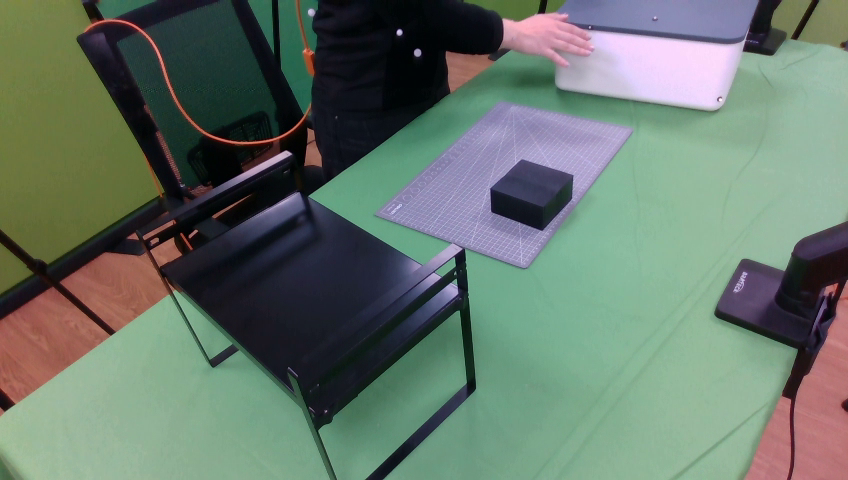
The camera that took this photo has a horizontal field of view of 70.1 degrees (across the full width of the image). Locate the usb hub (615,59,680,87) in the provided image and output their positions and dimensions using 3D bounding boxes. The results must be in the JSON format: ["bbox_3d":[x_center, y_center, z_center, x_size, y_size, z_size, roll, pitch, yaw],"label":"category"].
[{"bbox_3d":[0.484,-0.363,1.311,0.124,0.025,0.049,21,46,27],"label":"usb hub"}]

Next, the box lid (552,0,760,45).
[{"bbox_3d":[0.471,-0.473,1.235,0.369,0.015,0.263,16,46,25],"label":"box lid"}]

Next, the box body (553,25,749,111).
[{"bbox_3d":[0.480,-0.417,1.282,0.362,0.161,0.254,16,46,25],"label":"box body"}]
